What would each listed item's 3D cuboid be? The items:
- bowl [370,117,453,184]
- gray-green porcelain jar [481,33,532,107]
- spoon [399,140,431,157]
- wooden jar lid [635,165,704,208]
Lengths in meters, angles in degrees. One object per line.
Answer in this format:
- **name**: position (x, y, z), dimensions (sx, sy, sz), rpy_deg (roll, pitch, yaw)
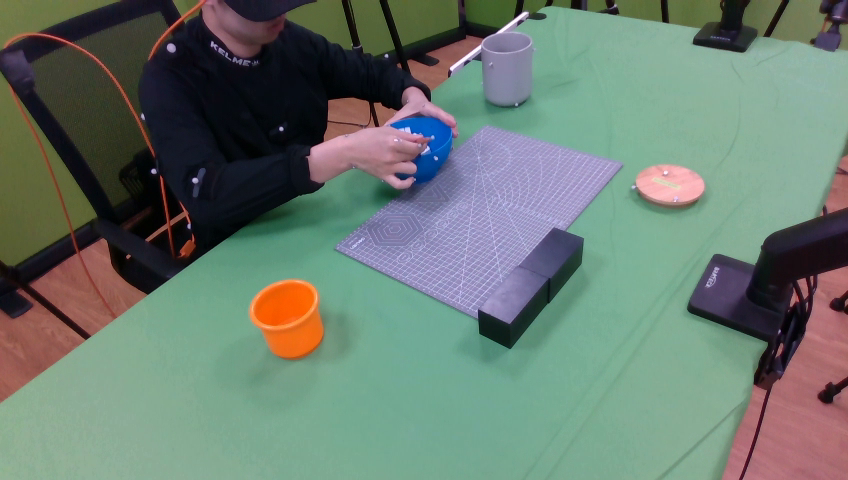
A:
- **bowl**: position (-0.018, -0.155, 1.106), dimensions (0.151, 0.077, 0.150), rpy_deg (-6, 39, 5)
- **gray-green porcelain jar**: position (0.175, -0.355, 1.278), dimensions (0.106, 0.127, 0.105), rpy_deg (-4, 41, 4)
- **spoon**: position (-0.014, -0.162, 1.045), dimensions (0.042, 0.021, 0.193), rpy_deg (-10, 2, -9)
- **wooden jar lid**: position (0.410, -0.089, 1.014), dimensions (0.108, 0.021, 0.108), rpy_deg (-5, 42, 5)
